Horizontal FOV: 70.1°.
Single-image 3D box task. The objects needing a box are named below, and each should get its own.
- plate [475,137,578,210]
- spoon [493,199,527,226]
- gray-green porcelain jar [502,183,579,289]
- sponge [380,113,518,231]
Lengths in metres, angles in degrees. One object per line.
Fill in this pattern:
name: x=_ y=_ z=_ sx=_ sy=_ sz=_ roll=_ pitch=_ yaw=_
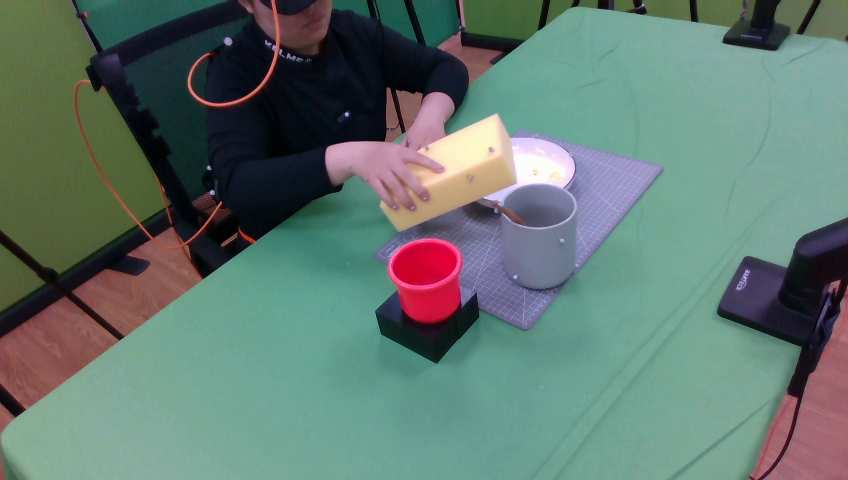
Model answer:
plate: x=0.166 y=-0.113 z=1.068 sx=0.207 sy=0.039 sz=0.206 roll=-5 pitch=40 yaw=5
spoon: x=0.135 y=-0.016 z=0.831 sx=0.021 sy=0.195 sz=0.041 roll=-49 pitch=53 yaw=-1
gray-green porcelain jar: x=0.166 y=-0.001 z=0.866 sx=0.106 sy=0.127 sz=0.105 roll=-5 pitch=40 yaw=5
sponge: x=0.037 y=-0.106 z=0.952 sx=0.206 sy=0.061 sz=0.117 roll=-22 pitch=38 yaw=17
